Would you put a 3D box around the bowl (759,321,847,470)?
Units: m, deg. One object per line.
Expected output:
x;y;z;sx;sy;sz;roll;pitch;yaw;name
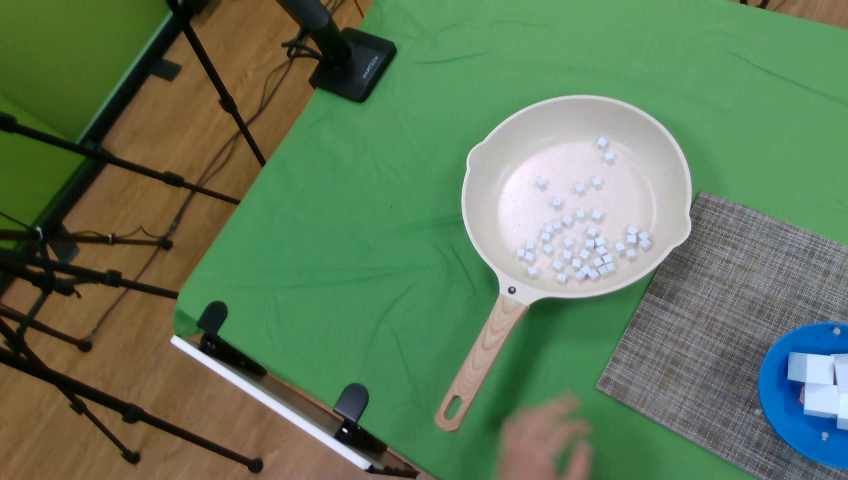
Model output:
0.436;0.170;0.652;0.151;0.077;0.150;-6;68;14;bowl

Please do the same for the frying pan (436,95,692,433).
0.145;0.027;0.782;0.304;0.104;0.486;25;70;24;frying pan
